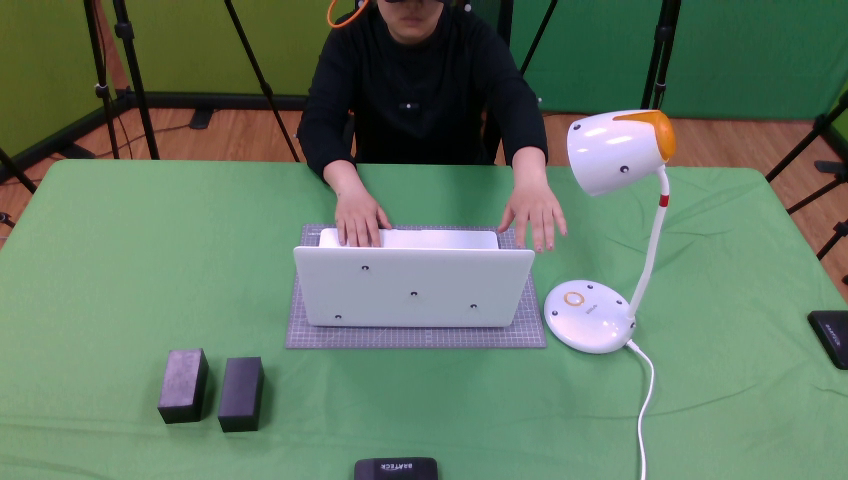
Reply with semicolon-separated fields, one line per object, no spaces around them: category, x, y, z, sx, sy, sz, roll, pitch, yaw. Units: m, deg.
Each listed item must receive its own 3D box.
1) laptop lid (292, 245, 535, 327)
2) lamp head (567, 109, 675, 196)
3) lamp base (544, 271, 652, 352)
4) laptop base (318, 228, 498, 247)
laptop lid;-0.018;0.080;0.956;0.357;0.243;0.013;2;54;-5
lamp head;0.272;-0.123;0.818;0.122;0.113;0.112;-9;35;37
lamp base;0.310;0.086;1.029;0.178;0.181;0.160;32;52;21
laptop base;-0.028;0.066;1.134;0.355;0.023;0.234;1;42;-4
